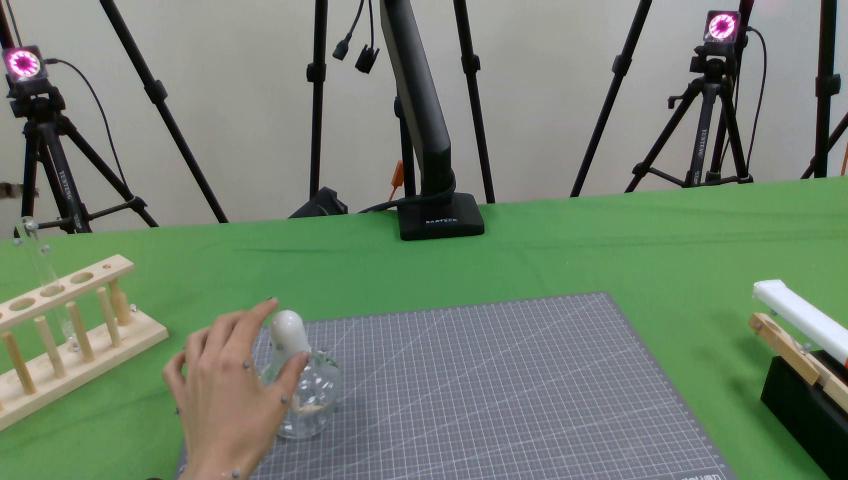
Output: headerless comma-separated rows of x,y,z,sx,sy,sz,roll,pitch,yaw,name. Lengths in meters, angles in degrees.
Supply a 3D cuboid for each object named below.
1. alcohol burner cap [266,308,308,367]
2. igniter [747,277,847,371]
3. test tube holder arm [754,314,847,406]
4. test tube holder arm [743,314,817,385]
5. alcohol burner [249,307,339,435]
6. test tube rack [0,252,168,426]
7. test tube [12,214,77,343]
-0.117,0.079,0.508,0.034,0.048,0.033,-2,33,2,alcohol burner cap
0.368,0.105,0.505,0.057,0.025,0.274,-6,26,-7,igniter
0.330,0.114,0.496,0.013,0.015,0.176,-10,29,-11,test tube holder arm
0.314,0.095,0.534,0.010,0.015,0.087,-9,29,-9,test tube holder arm
-0.115,0.110,0.526,0.078,0.120,0.077,-1,28,1,alcohol burner
-0.384,0.106,0.584,0.066,0.086,0.242,20,36,34,test tube rack
-0.369,0.042,0.596,0.017,0.151,0.017,-1,32,1,test tube
